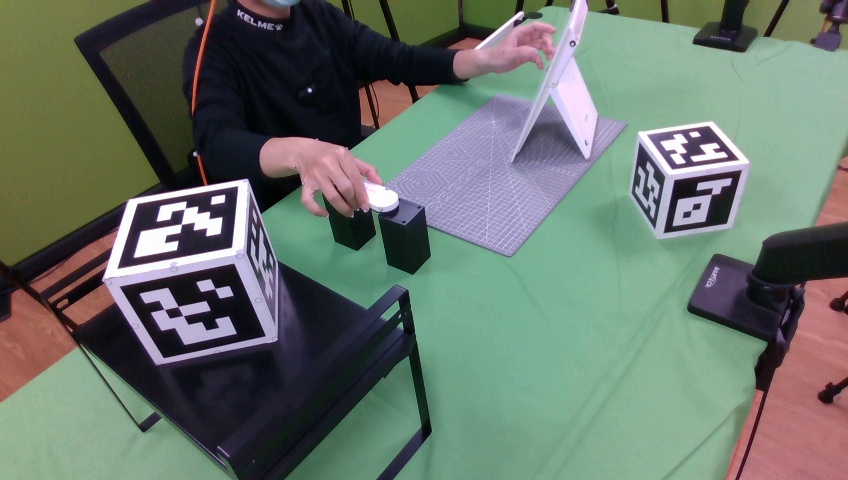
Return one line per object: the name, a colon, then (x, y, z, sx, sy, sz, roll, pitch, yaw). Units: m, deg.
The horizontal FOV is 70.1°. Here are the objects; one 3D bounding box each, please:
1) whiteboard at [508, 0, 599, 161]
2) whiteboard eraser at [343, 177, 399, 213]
whiteboard: (0.285, -0.289, 1.090, 0.144, 0.305, 0.217, 22, 45, 3)
whiteboard eraser: (-0.081, -0.069, 0.910, 0.100, 0.019, 0.041, 27, 52, 33)
